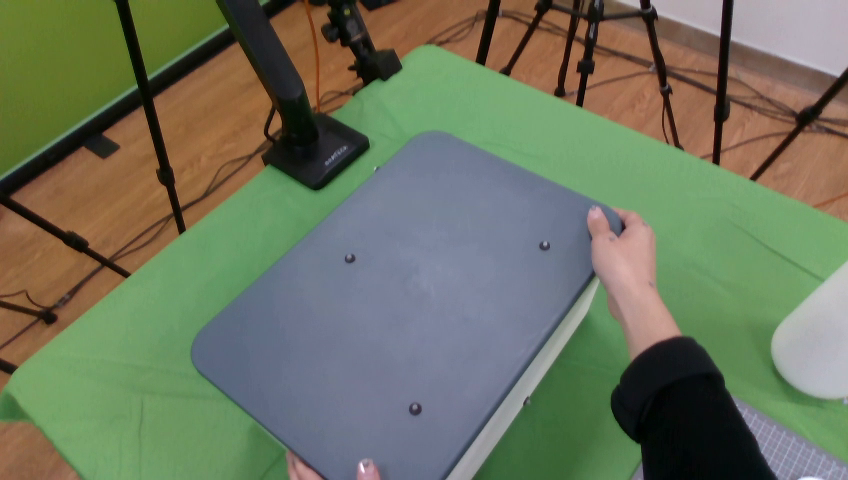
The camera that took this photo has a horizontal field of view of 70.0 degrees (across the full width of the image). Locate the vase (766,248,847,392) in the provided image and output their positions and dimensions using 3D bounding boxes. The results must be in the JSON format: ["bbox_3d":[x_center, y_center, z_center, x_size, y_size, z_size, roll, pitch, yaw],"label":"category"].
[{"bbox_3d":[0.416,0.070,0.594,0.098,0.202,0.097,-2,52,3],"label":"vase"}]

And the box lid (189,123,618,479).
[{"bbox_3d":[-0.008,0.036,0.576,0.261,0.015,0.370,30,61,24],"label":"box lid"}]

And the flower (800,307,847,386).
[{"bbox_3d":[0.413,0.009,0.536,0.043,0.364,0.038,25,42,24],"label":"flower"}]

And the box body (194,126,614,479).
[{"bbox_3d":[-0.005,0.083,0.637,0.252,0.162,0.363,30,61,24],"label":"box body"}]
